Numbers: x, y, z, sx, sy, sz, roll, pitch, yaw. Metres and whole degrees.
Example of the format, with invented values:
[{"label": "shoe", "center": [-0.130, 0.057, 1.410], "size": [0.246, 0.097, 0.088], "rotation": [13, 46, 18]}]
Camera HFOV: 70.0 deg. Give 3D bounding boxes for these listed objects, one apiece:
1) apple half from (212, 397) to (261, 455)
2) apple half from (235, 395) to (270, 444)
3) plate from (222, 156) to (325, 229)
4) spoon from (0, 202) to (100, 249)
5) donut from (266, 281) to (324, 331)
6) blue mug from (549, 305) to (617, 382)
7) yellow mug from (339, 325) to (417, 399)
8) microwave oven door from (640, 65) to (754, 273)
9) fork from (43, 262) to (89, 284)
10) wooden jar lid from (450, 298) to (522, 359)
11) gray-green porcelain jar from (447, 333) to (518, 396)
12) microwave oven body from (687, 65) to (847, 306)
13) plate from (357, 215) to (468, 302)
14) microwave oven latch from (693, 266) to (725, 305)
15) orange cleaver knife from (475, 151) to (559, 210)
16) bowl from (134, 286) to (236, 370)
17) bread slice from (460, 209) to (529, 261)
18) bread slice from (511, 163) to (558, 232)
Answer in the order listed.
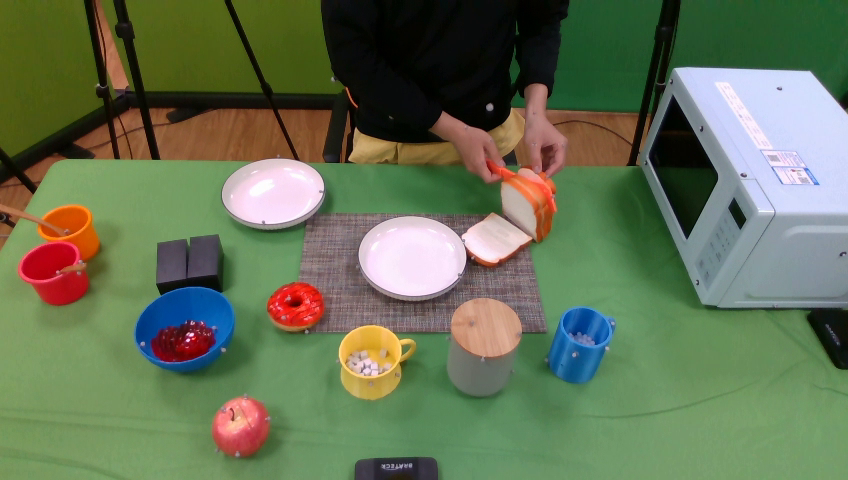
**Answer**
[{"label": "apple half", "center": [-0.276, 0.276, 0.877], "size": [0.053, 0.075, 0.080], "rotation": [-29, 58, -21]}, {"label": "apple half", "center": [-0.245, 0.259, 0.893], "size": [0.033, 0.082, 0.081], "rotation": [-29, 55, -22]}, {"label": "plate", "center": [-0.308, -0.095, 1.251], "size": [0.209, 0.038, 0.208], "rotation": [2, 47, -2]}, {"label": "spoon", "center": [-0.684, -0.031, 1.088], "size": [0.021, 0.195, 0.041], "rotation": [-34, 43, 26]}, {"label": "donut", "center": [-0.222, 0.114, 1.049], "size": [0.099, 0.048, 0.098], "rotation": [2, 45, -2]}, {"label": "blue mug", "center": [0.269, 0.166, 0.998], "size": [0.116, 0.106, 0.082], "rotation": [-19, 51, -21]}, {"label": "yellow mug", "center": [-0.072, 0.191, 0.978], "size": [0.131, 0.064, 0.099], "rotation": [-17, 50, -20]}, {"label": "microwave oven door", "center": [0.523, -0.147, 1.193], "size": [0.039, 0.245, 0.353], "rotation": [0, 47, -3]}, {"label": "fork", "center": [-0.599, 0.053, 1.013], "size": [0.207, 0.019, 0.028], "rotation": [-14, 30, 45]}, {"label": "wooden jar lid", "center": [0.093, 0.135, 0.914], "size": [0.108, 0.021, 0.107], "rotation": [2, 48, -3]}, {"label": "gray-green porcelain jar", "center": [0.091, 0.178, 0.960], "size": [0.106, 0.127, 0.105], "rotation": [2, 46, -2]}, {"label": "microwave oven body", "center": [0.669, -0.111, 1.176], "size": [0.326, 0.261, 0.439], "rotation": [0, 46, -3]}, {"label": "plate", "center": [-0.022, 0.037, 1.141], "size": [0.208, 0.039, 0.206], "rotation": [2, 46, -2]}, {"label": "microwave oven latch", "center": [0.523, 0.082, 1.115], "size": [0.030, 0.029, 0.078], "rotation": [3, 46, 0]}, {"label": "orange cleaver knife", "center": [0.185, -0.120, 1.218], "size": [0.012, 0.077, 0.210], "rotation": [-41, 50, -20]}, {"label": "bowl", "center": [-0.377, 0.155, 0.981], "size": [0.151, 0.077, 0.150], "rotation": [2, 46, -2]}, {"label": "bread slice", "center": [0.130, -0.008, 1.198], "size": [0.104, 0.019, 0.131], "rotation": [24, 48, 30]}, {"label": "bread slice", "center": [0.224, -0.088, 1.221], "size": [0.018, 0.135, 0.106], "rotation": [-30, 57, -28]}]
